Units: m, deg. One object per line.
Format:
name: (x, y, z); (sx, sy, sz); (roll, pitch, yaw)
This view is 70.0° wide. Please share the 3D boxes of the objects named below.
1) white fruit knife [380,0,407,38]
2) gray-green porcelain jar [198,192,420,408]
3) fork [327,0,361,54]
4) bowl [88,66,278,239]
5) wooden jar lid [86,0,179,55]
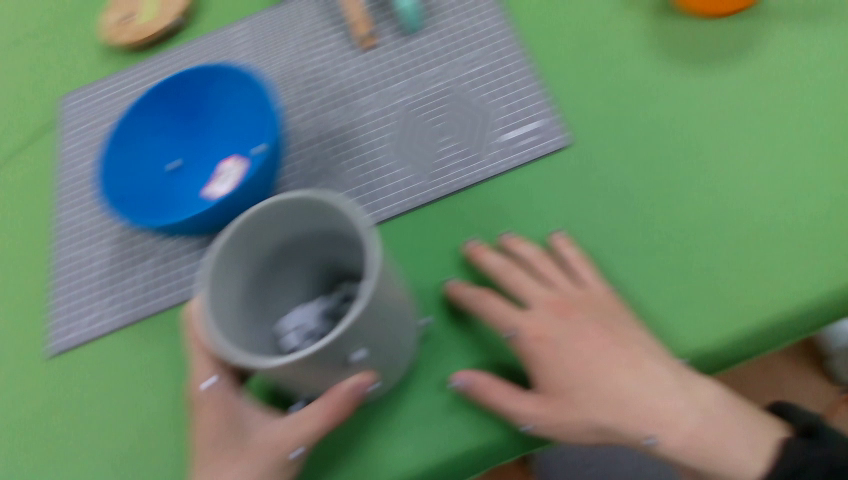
white fruit knife: (-0.058, -0.285, 0.582); (0.016, 0.027, 0.206); (-22, 74, 1)
gray-green porcelain jar: (-0.063, 0.046, 0.387); (0.105, 0.128, 0.105); (-6, 62, 12)
fork: (-0.104, -0.268, 0.583); (0.028, 0.019, 0.206); (-24, 78, -4)
bowl: (-0.180, -0.058, 0.495); (0.151, 0.077, 0.150); (-6, 62, 11)
wooden jar lid: (-0.315, -0.243, 0.662); (0.108, 0.021, 0.107); (-5, 62, 10)
